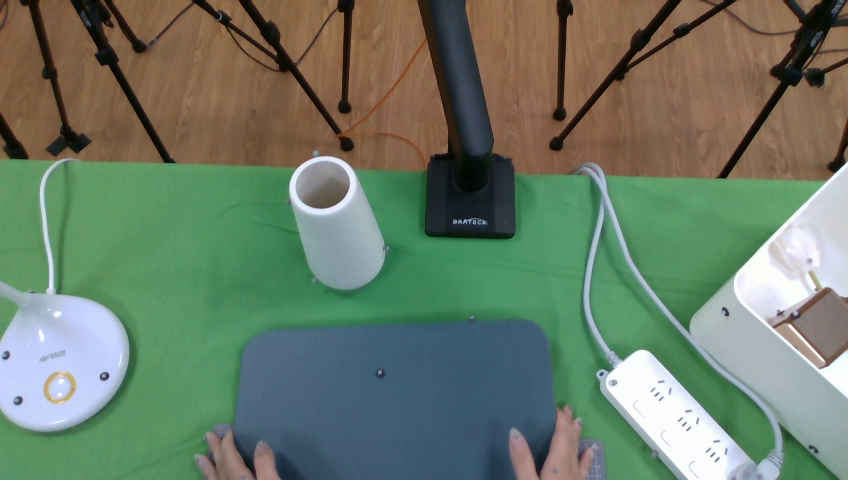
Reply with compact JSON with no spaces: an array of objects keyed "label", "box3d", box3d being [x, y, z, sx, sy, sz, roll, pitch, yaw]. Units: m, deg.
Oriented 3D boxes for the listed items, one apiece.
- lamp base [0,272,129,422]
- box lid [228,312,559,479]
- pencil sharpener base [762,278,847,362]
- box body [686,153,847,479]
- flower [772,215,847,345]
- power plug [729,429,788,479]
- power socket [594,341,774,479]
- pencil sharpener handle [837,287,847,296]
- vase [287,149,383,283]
[{"label":"lamp base","box3d":[-0.444,0.096,0.661,0.161,0.181,0.177,-27,67,-11]},{"label":"box lid","box3d":[-0.035,0.214,0.686,0.371,0.015,0.261,-3,69,3]},{"label":"pencil sharpener base","box3d":[0.427,0.099,0.685,0.076,0.108,0.061,-33,70,-12]},{"label":"box body","box3d":[0.509,0.116,0.654,0.254,0.161,0.361,-39,72,-15]},{"label":"flower","box3d":[0.517,0.136,0.722,0.044,0.038,0.359,-23,73,17]},{"label":"power plug","box3d":[0.361,0.239,0.649,0.072,0.053,0.035,-25,66,-15]},{"label":"power socket","box3d":[0.292,0.212,0.686,0.072,0.033,0.225,-36,71,-14]},{"label":"pencil sharpener handle","box3d":[0.469,0.067,0.683,0.030,0.068,0.035,-33,65,-12]},{"label":"vase","box3d":[-0.101,-0.023,0.699,0.098,0.201,0.097,0,65,0]}]
